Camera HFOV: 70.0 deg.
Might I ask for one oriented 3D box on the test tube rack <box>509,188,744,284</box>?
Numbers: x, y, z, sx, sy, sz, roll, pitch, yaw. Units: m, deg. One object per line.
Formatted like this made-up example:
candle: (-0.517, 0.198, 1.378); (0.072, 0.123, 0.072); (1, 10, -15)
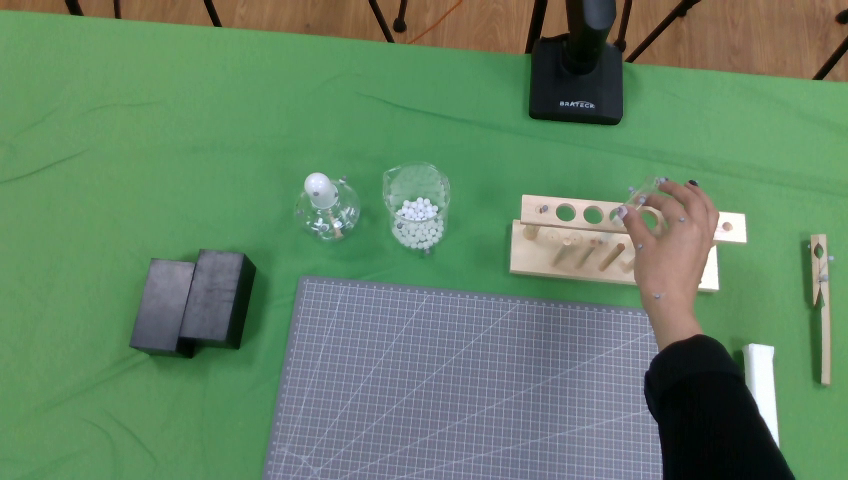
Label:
test tube rack: (0.225, -0.003, 0.694); (0.242, 0.086, 0.066); (5, 70, 2)

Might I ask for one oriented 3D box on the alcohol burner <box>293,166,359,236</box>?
alcohol burner: (-0.114, -0.050, 0.693); (0.078, 0.120, 0.077); (0, 69, 0)

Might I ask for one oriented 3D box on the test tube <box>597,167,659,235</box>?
test tube: (0.215, -0.038, 0.652); (0.017, 0.151, 0.017); (1, 69, -2)

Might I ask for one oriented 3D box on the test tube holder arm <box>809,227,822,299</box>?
test tube holder arm: (0.467, 0.027, 0.721); (0.010, 0.015, 0.087); (-5, 67, 36)

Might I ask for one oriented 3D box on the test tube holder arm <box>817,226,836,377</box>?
test tube holder arm: (0.466, 0.069, 0.703); (0.013, 0.015, 0.177); (-7, 66, 35)

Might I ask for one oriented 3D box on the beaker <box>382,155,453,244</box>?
beaker: (-0.010, -0.044, 0.699); (0.083, 0.101, 0.074); (33, 73, 12)

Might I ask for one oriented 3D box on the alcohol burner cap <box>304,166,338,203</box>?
alcohol burner cap: (-0.114, -0.063, 0.659); (0.034, 0.048, 0.033); (-1, 76, 3)

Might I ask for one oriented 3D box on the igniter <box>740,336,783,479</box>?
igniter: (0.360, 0.239, 0.641); (0.057, 0.025, 0.275); (10, 71, -7)
